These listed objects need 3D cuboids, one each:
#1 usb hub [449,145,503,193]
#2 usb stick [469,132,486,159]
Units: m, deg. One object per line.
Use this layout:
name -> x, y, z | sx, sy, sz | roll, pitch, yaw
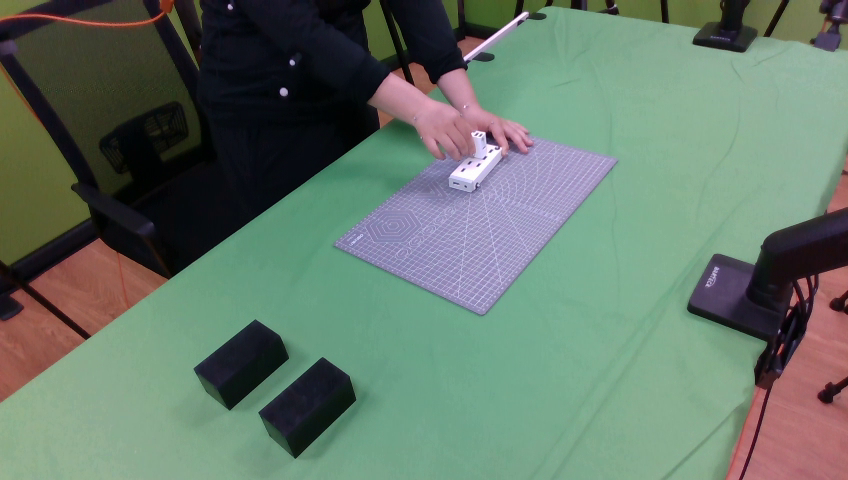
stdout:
usb hub -> 0.096, -0.132, 1.105 | 0.049, 0.025, 0.125 | 19, 47, 27
usb stick -> 0.098, -0.165, 1.098 | 0.027, 0.059, 0.021 | 17, 40, 22
